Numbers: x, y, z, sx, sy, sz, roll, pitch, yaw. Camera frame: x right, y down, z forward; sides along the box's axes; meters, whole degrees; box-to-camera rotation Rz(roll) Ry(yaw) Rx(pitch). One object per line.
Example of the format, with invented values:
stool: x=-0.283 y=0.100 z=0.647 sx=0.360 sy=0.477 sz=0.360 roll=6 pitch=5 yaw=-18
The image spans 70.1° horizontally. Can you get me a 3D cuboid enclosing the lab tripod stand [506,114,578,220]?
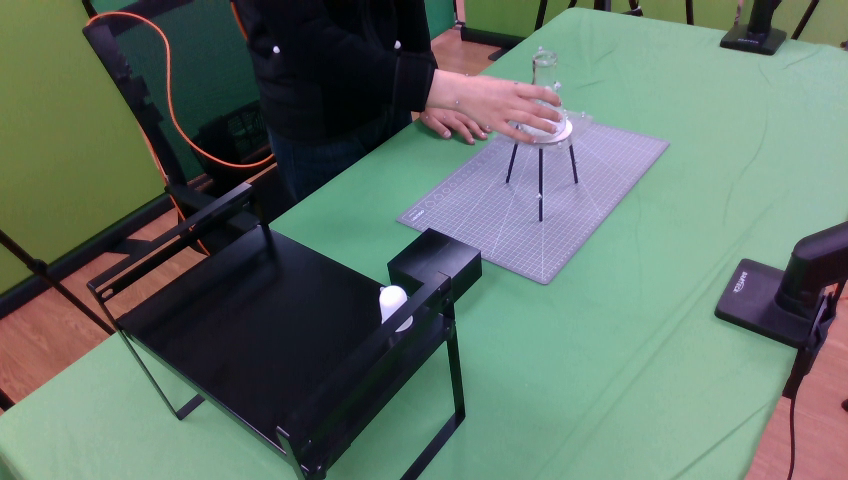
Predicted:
lab tripod stand: x=0.198 y=-0.127 z=1.005 sx=0.148 sy=0.132 sz=0.147 roll=-3 pitch=42 yaw=3

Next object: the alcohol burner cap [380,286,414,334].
alcohol burner cap: x=-0.029 y=0.067 z=0.605 sx=0.034 sy=0.048 sz=0.033 roll=-5 pitch=40 yaw=4

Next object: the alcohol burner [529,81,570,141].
alcohol burner: x=0.241 y=-0.251 z=1.159 sx=0.078 sy=0.119 sz=0.077 roll=-3 pitch=43 yaw=4

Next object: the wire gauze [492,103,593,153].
wire gauze: x=0.190 y=-0.179 z=0.965 sx=0.120 sy=0.011 sz=0.125 roll=17 pitch=49 yaw=29

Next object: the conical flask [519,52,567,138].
conical flask: x=0.183 y=-0.223 z=0.926 sx=0.075 sy=0.122 sz=0.075 roll=-4 pitch=41 yaw=4
